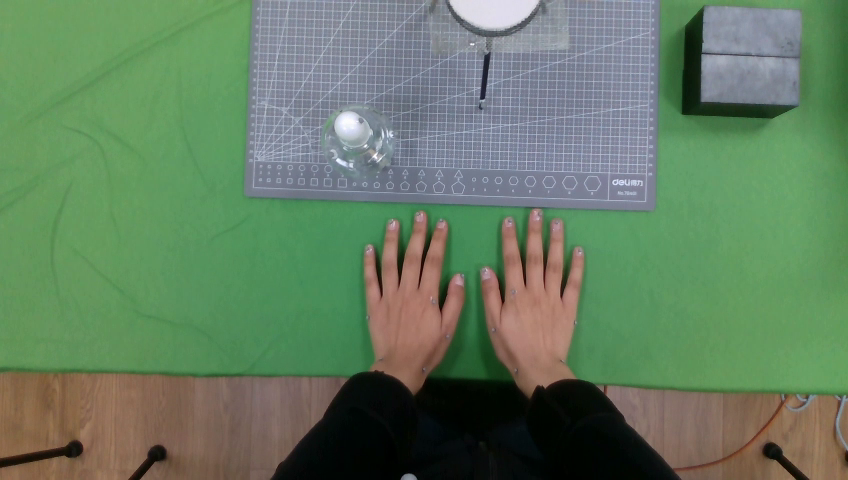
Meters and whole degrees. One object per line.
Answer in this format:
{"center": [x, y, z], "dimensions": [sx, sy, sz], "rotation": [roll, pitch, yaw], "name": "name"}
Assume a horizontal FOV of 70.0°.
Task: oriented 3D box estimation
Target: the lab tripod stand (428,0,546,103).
{"center": [0.067, -0.228, 0.603], "dimensions": [0.148, 0.131, 0.148], "rotation": [0, 86, 1], "name": "lab tripod stand"}

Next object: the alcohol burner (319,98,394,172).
{"center": [-0.070, -0.110, 0.612], "dimensions": [0.078, 0.119, 0.078], "rotation": [0, 87, 0], "name": "alcohol burner"}

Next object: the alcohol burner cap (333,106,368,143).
{"center": [-0.072, -0.112, 0.576], "dimensions": [0.034, 0.048, 0.034], "rotation": [0, 91, 0], "name": "alcohol burner cap"}

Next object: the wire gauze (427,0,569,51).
{"center": [0.063, -0.229, 0.537], "dimensions": [0.125, 0.011, 0.121], "rotation": [-4, 88, 0], "name": "wire gauze"}
